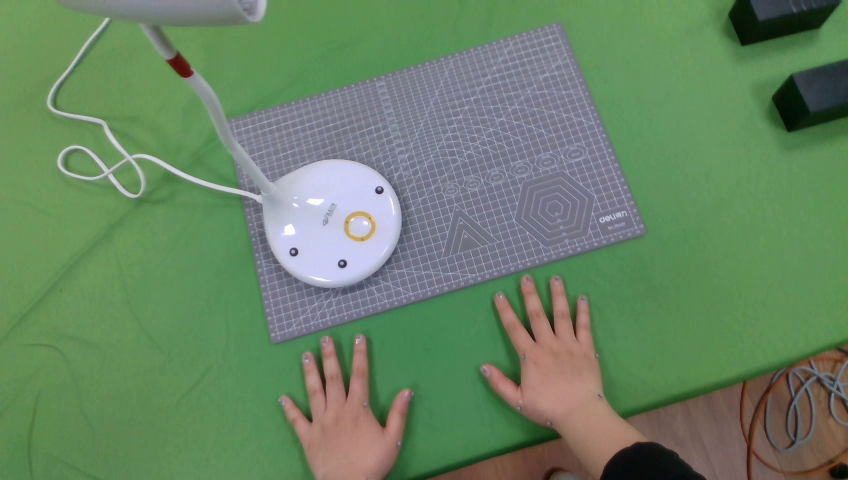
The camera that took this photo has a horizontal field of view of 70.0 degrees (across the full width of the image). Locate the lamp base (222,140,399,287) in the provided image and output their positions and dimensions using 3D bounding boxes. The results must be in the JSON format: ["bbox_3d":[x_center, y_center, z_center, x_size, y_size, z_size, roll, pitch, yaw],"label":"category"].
[{"bbox_3d":[-0.129,-0.047,0.645,0.179,0.181,0.160,9,74,11],"label":"lamp base"}]

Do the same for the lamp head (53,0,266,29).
[{"bbox_3d":[-0.161,-0.170,0.343,0.123,0.113,0.111,-9,73,8],"label":"lamp head"}]
